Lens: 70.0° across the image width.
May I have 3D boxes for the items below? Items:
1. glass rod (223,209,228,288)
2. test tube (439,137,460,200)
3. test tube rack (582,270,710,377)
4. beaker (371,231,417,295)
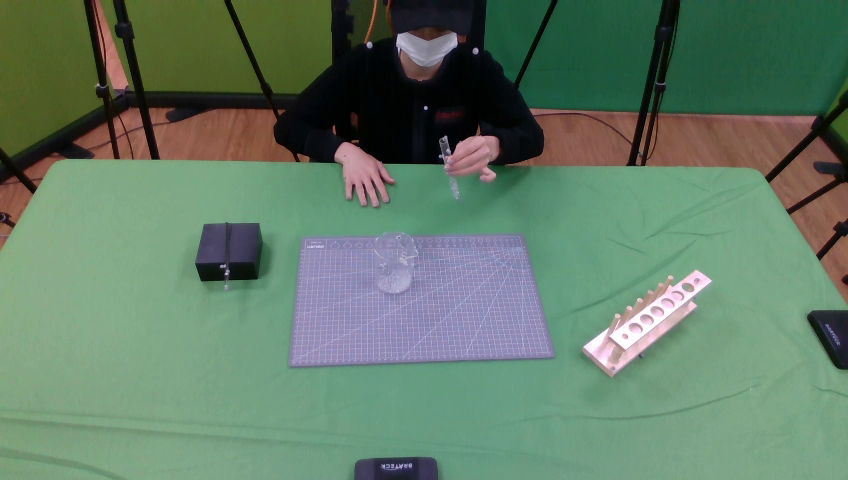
[{"bbox_3d":[-0.360,0.010,1.098,0.008,0.008,0.198,-7,47,-12],"label":"glass rod"},{"bbox_3d":[0.048,-0.127,1.112,0.017,0.151,0.017,-7,48,9],"label":"test tube"},{"bbox_3d":[0.389,0.132,1.057,0.242,0.085,0.066,-28,54,-28],"label":"test tube rack"},{"bbox_3d":[-0.054,0.045,1.093,0.084,0.101,0.073,17,47,10],"label":"beaker"}]
